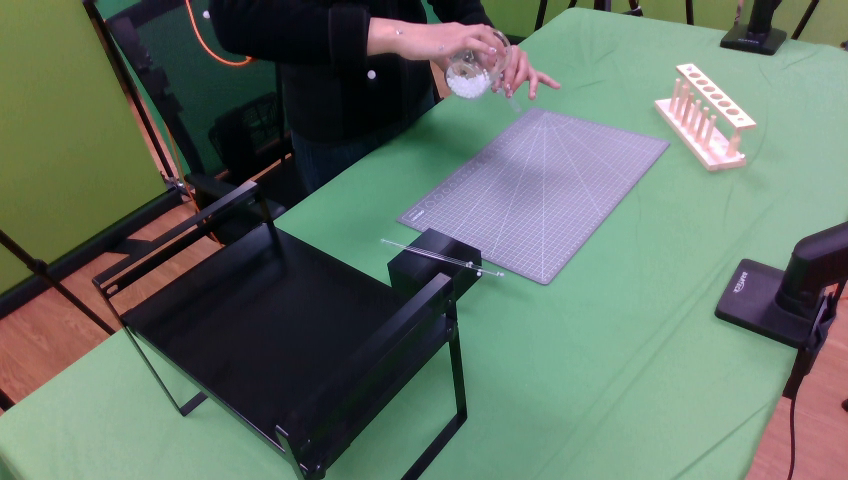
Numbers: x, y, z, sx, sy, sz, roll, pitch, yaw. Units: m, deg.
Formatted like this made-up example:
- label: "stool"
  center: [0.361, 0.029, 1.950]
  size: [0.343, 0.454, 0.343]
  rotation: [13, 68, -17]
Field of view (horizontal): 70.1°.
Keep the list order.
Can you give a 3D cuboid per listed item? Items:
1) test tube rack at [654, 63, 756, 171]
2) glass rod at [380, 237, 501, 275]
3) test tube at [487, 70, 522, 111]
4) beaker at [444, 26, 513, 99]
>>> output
- label: "test tube rack"
  center: [0.510, -0.233, 1.120]
  size: [0.067, 0.085, 0.241]
  rotation: [-8, 41, -1]
- label: "glass rod"
  center: [0.020, 0.023, 0.881]
  size: [0.198, 0.008, 0.008]
  rotation: [16, 46, 25]
- label: "test tube"
  center: [0.142, -0.255, 1.042]
  size: [0.017, 0.151, 0.017]
  rotation: [-5, 77, 26]
- label: "beaker"
  center: [0.082, -0.266, 0.923]
  size: [0.073, 0.084, 0.100]
  rotation: [17, 49, 25]
